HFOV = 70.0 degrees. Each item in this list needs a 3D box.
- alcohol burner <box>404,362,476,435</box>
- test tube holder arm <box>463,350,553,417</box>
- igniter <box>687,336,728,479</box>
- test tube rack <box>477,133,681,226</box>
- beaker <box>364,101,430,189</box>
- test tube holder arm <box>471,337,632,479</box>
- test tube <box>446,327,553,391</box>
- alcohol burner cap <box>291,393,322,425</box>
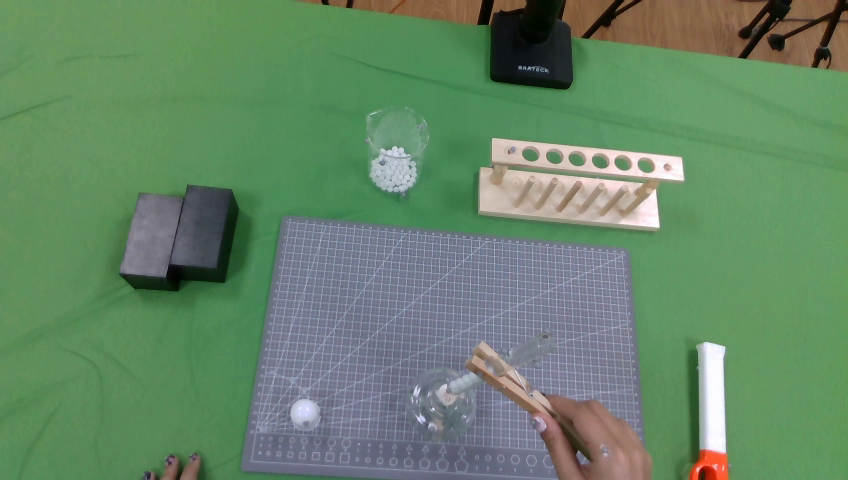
[{"bbox_3d":[0.020,0.164,0.641,0.078,0.120,0.077,3,66,-7],"label":"alcohol burner"},{"bbox_3d":[0.071,0.121,0.505,0.088,0.015,0.010,35,57,-8],"label":"test tube holder arm"},{"bbox_3d":[0.330,0.247,0.698,0.057,0.025,0.274,15,67,-12],"label":"igniter"},{"bbox_3d":[0.195,-0.075,0.778,0.243,0.085,0.066,5,67,-5],"label":"test tube rack"},{"bbox_3d":[-0.039,-0.115,0.757,0.084,0.101,0.074,31,67,7],"label":"beaker"},{"bbox_3d":[0.109,0.145,0.512,0.178,0.015,0.013,41,57,-4],"label":"test tube holder arm"},{"bbox_3d":[0.057,0.102,0.502,0.017,0.150,0.017,13,60,-23],"label":"test tube"},{"bbox_3d":[-0.128,0.181,0.654,0.034,0.048,0.033,3,68,-6],"label":"alcohol burner cap"}]
